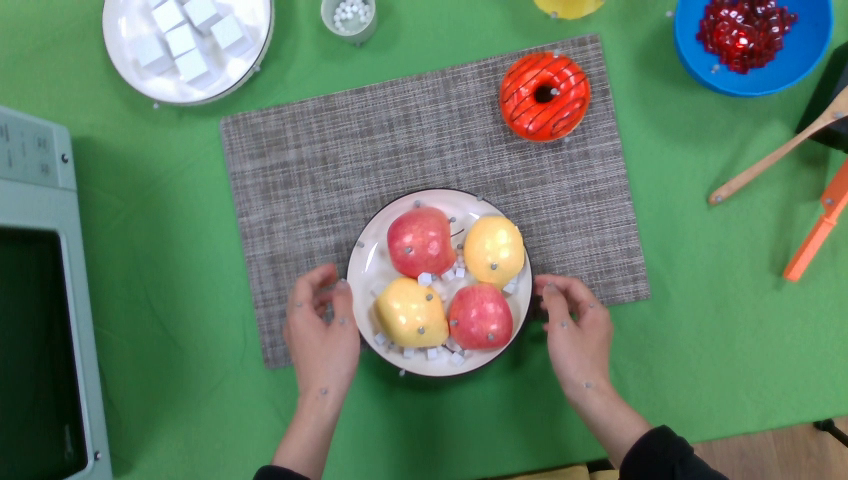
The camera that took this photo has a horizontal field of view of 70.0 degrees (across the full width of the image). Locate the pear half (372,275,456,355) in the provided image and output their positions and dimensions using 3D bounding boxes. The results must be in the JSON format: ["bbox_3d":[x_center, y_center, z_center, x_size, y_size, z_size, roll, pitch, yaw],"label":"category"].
[{"bbox_3d":[-0.006,0.089,0.663,0.109,0.056,0.076,40,97,4],"label":"pear half"}]

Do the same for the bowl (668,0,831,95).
[{"bbox_3d":[0.324,-0.218,0.632,0.151,0.077,0.151,0,90,6],"label":"bowl"}]

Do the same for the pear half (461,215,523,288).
[{"bbox_3d":[0.069,0.017,0.658,0.070,0.031,0.088,13,93,27],"label":"pear half"}]

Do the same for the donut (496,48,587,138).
[{"bbox_3d":[0.128,-0.161,0.664,0.099,0.048,0.099,0,90,9],"label":"donut"}]

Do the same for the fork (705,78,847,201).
[{"bbox_3d":[0.379,-0.107,0.619,0.028,0.018,0.207,47,114,-3],"label":"fork"}]

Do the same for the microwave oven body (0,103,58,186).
[{"bbox_3d":[-0.567,0.092,0.625,0.326,0.260,0.441,-9,89,5],"label":"microwave oven body"}]

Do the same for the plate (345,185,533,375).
[{"bbox_3d":[0.017,0.044,0.676,0.209,0.038,0.209,0,89,6],"label":"plate"}]

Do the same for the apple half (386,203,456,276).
[{"bbox_3d":[-0.005,0.001,0.662,0.074,0.053,0.081,-6,92,7],"label":"apple half"}]

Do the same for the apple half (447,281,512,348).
[{"bbox_3d":[0.053,0.082,0.655,0.081,0.033,0.081,2,94,28],"label":"apple half"}]

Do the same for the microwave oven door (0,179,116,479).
[{"bbox_3d":[-0.418,0.113,0.604,0.039,0.244,0.355,-9,88,6],"label":"microwave oven door"}]

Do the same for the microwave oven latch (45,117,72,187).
[{"bbox_3d":[-0.437,-0.102,0.711,0.030,0.029,0.079,-6,89,5],"label":"microwave oven latch"}]

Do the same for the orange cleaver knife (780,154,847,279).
[{"bbox_3d":[0.425,-0.057,0.616,0.012,0.077,0.212,26,117,11],"label":"orange cleaver knife"}]

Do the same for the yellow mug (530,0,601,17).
[{"bbox_3d":[0.143,-0.302,0.658,0.131,0.064,0.100,-1,89,7],"label":"yellow mug"}]

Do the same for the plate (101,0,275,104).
[{"bbox_3d":[-0.273,-0.260,0.715,0.207,0.039,0.207,0,89,6],"label":"plate"}]

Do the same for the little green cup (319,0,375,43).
[{"bbox_3d":[-0.085,-0.259,0.695,0.061,0.039,0.061,0,89,7],"label":"little green cup"}]
